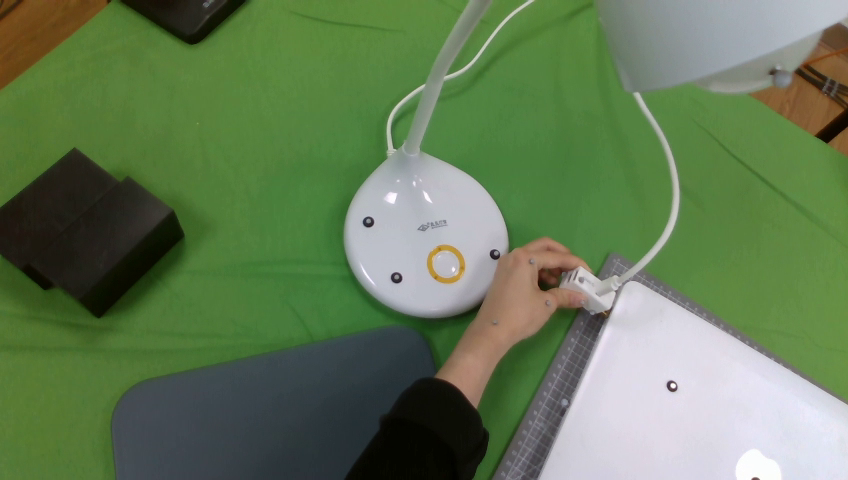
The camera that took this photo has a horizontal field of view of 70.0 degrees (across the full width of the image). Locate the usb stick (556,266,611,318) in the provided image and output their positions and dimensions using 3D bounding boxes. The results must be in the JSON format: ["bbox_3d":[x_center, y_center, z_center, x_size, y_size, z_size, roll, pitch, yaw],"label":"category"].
[{"bbox_3d":[0.154,0.051,0.567,0.059,0.027,0.021,38,53,-16],"label":"usb stick"}]

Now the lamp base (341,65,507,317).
[{"bbox_3d":[0.009,-0.044,0.510,0.161,0.181,0.178,-25,71,-20],"label":"lamp base"}]

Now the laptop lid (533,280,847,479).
[{"bbox_3d":[0.288,0.214,0.536,0.356,0.013,0.241,32,67,3],"label":"laptop lid"}]

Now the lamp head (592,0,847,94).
[{"bbox_3d":[0.105,-0.133,0.233,0.112,0.112,0.123,-35,101,-23],"label":"lamp head"}]

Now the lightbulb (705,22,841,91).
[{"bbox_3d":[0.129,-0.112,0.231,0.060,0.059,0.108,-7,108,-14],"label":"lightbulb"}]

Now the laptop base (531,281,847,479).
[{"bbox_3d":[0.288,0.217,0.547,0.354,0.023,0.234,31,68,2],"label":"laptop base"}]

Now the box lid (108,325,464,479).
[{"bbox_3d":[-0.081,0.258,0.458,0.264,0.015,0.369,-11,71,-16],"label":"box lid"}]
